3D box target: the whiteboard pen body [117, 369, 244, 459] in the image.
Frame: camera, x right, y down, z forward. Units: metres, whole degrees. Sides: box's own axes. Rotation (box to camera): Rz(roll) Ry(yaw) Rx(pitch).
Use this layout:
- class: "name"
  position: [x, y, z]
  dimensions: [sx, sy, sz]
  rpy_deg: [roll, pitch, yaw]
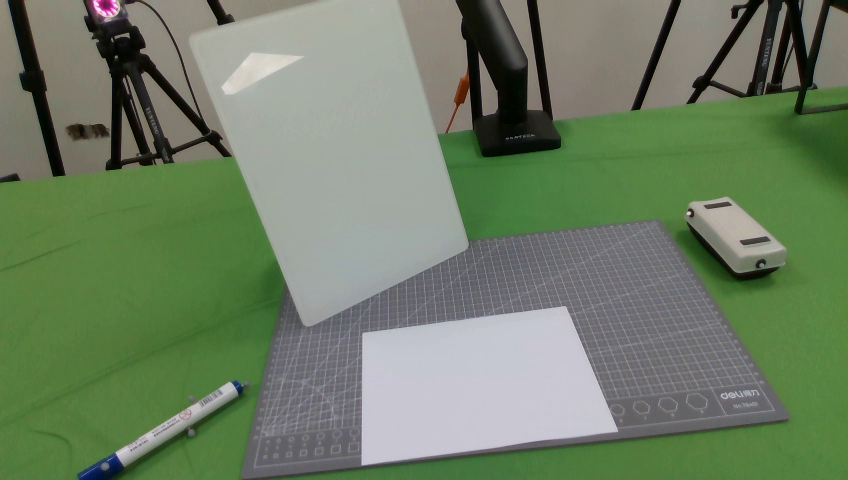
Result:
- class: "whiteboard pen body"
  position: [-0.223, 0.157, 0.533]
  dimensions: [0.141, 0.017, 0.017]
  rpy_deg: [-31, 43, -31]

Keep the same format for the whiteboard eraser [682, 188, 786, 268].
- class: "whiteboard eraser"
  position: [0.335, -0.014, 0.662]
  dimensions: [0.055, 0.042, 0.111]
  rpy_deg: [-11, 37, -3]

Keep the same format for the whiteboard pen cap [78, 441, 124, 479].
- class: "whiteboard pen cap"
  position: [-0.266, 0.181, 0.502]
  dimensions: [0.033, 0.018, 0.018]
  rpy_deg: [-32, 43, -32]

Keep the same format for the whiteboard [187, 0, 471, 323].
- class: "whiteboard"
  position: [-0.108, -0.103, 0.681]
  dimensions: [0.217, 0.307, 0.143]
  rpy_deg: [-25, 20, -23]
